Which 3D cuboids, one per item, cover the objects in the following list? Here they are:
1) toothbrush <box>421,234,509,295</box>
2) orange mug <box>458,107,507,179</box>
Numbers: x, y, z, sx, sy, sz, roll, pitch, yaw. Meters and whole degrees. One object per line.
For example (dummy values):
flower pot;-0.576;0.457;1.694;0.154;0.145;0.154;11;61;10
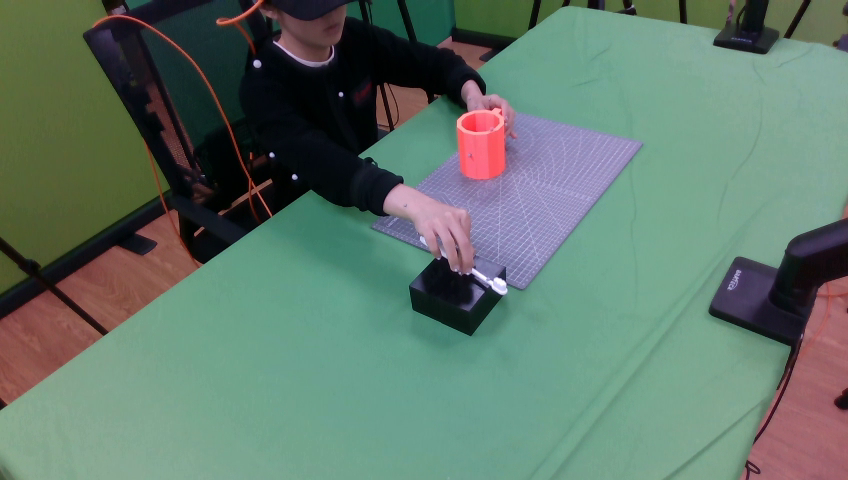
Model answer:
toothbrush;0.053;0.029;0.857;0.014;0.017;0.180;-29;41;-28
orange mug;0.117;-0.186;1.112;0.083;0.101;0.126;19;51;28
